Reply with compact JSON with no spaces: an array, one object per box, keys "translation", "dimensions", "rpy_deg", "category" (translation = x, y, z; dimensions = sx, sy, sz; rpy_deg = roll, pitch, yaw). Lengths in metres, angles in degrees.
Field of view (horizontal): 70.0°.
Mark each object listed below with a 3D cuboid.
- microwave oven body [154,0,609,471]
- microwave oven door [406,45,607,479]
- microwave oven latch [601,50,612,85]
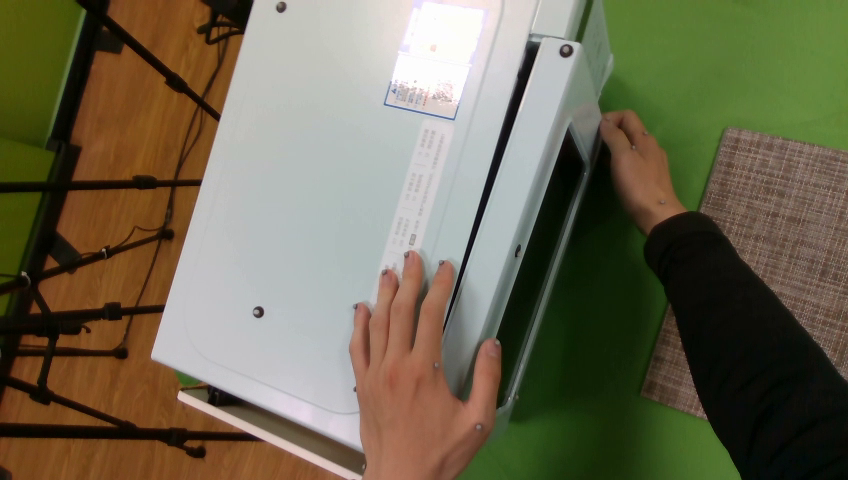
[{"translation":[-0.032,-0.048,0.635],"dimensions":[0.324,0.262,0.441],"rpy_deg":[16,90,21],"category":"microwave oven body"},{"translation":[0.091,0.031,0.574],"dimensions":[0.039,0.245,0.355],"rpy_deg":[19,91,22],"category":"microwave oven door"},{"translation":[0.181,-0.172,0.672],"dimensions":[0.030,0.030,0.079],"rpy_deg":[29,95,20],"category":"microwave oven latch"}]
